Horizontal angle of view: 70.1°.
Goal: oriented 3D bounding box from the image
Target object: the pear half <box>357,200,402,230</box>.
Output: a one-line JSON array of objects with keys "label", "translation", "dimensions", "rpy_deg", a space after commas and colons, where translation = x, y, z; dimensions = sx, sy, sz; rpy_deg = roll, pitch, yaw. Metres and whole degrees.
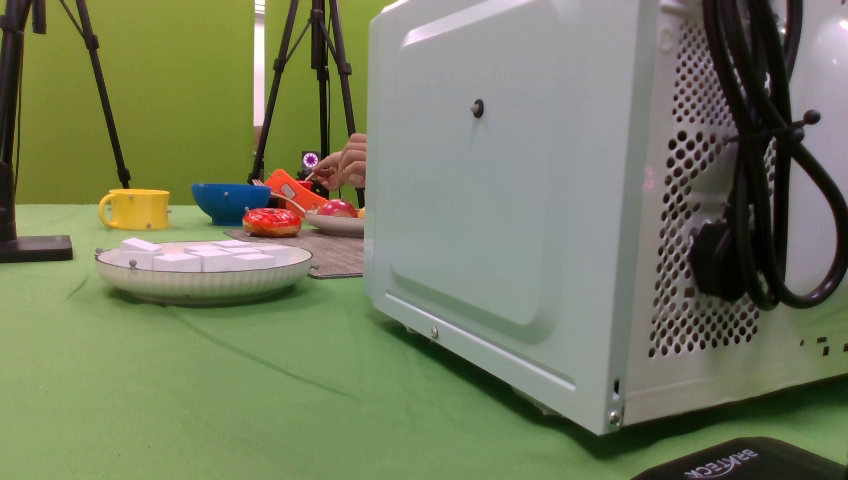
[{"label": "pear half", "translation": [-0.075, -0.046, 1.133], "dimensions": [0.076, 0.056, 0.110], "rpy_deg": [12, 9, 31]}]

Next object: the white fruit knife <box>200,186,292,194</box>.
[{"label": "white fruit knife", "translation": [-0.399, -0.111, 1.368], "dimensions": [0.208, 0.016, 0.027], "rpy_deg": [-4, -19, -30]}]

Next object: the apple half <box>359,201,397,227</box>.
[{"label": "apple half", "translation": [-0.088, -0.058, 1.190], "dimensions": [0.081, 0.033, 0.081], "rpy_deg": [10, 29, -6]}]

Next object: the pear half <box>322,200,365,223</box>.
[{"label": "pear half", "translation": [-0.157, -0.059, 1.197], "dimensions": [0.088, 0.031, 0.070], "rpy_deg": [12, 30, -5]}]

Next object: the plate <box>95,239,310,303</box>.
[{"label": "plate", "translation": [-0.224, 0.031, 0.629], "dimensions": [0.208, 0.039, 0.207], "rpy_deg": [2, 7, 0]}]

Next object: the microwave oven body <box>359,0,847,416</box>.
[{"label": "microwave oven body", "translation": [0.211, -0.047, 0.474], "dimensions": [0.444, 0.260, 0.324], "rpy_deg": [-1, 7, -28]}]

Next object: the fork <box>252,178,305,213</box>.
[{"label": "fork", "translation": [-0.295, -0.084, 1.292], "dimensions": [0.206, 0.018, 0.028], "rpy_deg": [29, 11, 25]}]

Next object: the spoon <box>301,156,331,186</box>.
[{"label": "spoon", "translation": [-0.316, -0.162, 1.639], "dimensions": [0.041, 0.194, 0.022], "rpy_deg": [19, -26, 46]}]

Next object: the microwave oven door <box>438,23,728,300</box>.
[{"label": "microwave oven door", "translation": [0.181, -0.072, 0.621], "dimensions": [0.358, 0.243, 0.039], "rpy_deg": [-2, 8, -29]}]

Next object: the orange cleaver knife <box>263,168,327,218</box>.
[{"label": "orange cleaver knife", "translation": [-0.262, -0.088, 1.353], "dimensions": [0.211, 0.077, 0.012], "rpy_deg": [28, 13, -1]}]

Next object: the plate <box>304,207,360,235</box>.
[{"label": "plate", "translation": [-0.123, -0.037, 1.149], "dimensions": [0.209, 0.038, 0.209], "rpy_deg": [2, 7, 0]}]

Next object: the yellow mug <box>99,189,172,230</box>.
[{"label": "yellow mug", "translation": [-0.518, -0.055, 1.080], "dimensions": [0.099, 0.064, 0.131], "rpy_deg": [6, 9, 26]}]

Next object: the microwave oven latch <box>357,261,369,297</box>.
[{"label": "microwave oven latch", "translation": [-0.019, 0.033, 0.530], "dimensions": [0.079, 0.029, 0.030], "rpy_deg": [-1, 7, -26]}]

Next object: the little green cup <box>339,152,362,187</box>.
[{"label": "little green cup", "translation": [-0.119, -0.123, 1.066], "dimensions": [0.061, 0.038, 0.061], "rpy_deg": [12, -26, 6]}]

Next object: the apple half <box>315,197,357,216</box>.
[{"label": "apple half", "translation": [-0.162, -0.052, 1.121], "dimensions": [0.081, 0.053, 0.074], "rpy_deg": [4, 8, -14]}]

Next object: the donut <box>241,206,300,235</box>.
[{"label": "donut", "translation": [-0.263, -0.032, 1.039], "dimensions": [0.099, 0.048, 0.099], "rpy_deg": [4, 10, 0]}]

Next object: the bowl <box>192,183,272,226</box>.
[{"label": "bowl", "translation": [-0.381, -0.071, 1.202], "dimensions": [0.151, 0.077, 0.151], "rpy_deg": [3, 7, 0]}]
